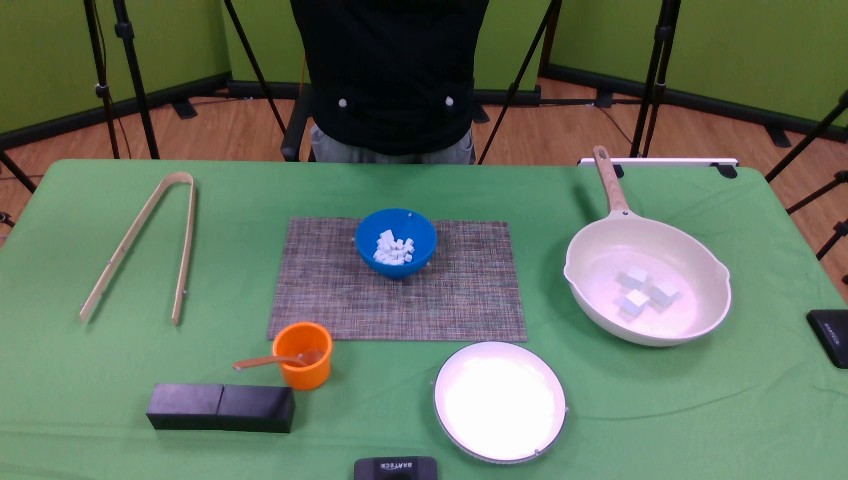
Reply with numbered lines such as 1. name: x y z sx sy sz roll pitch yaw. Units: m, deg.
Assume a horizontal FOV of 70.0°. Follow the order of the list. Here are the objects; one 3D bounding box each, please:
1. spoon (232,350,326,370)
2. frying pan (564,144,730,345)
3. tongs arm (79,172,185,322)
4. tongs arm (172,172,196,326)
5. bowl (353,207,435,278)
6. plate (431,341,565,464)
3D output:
1. spoon: -0.216 0.182 0.919 0.041 0.194 0.021 43 102 27
2. frying pan: 0.396 -0.008 1.179 0.307 0.103 0.484 0 55 -5
3. tongs arm: -0.541 -0.002 1.147 0.051 0.026 0.382 5 45 -1
4. tongs arm: -0.459 0.003 1.156 0.028 0.028 0.385 -7 47 -8
5. bowl: -0.056 0.018 1.132 0.151 0.077 0.150 2 46 -2
6. plate: 0.114 0.255 0.951 0.208 0.039 0.206 3 46 -2
